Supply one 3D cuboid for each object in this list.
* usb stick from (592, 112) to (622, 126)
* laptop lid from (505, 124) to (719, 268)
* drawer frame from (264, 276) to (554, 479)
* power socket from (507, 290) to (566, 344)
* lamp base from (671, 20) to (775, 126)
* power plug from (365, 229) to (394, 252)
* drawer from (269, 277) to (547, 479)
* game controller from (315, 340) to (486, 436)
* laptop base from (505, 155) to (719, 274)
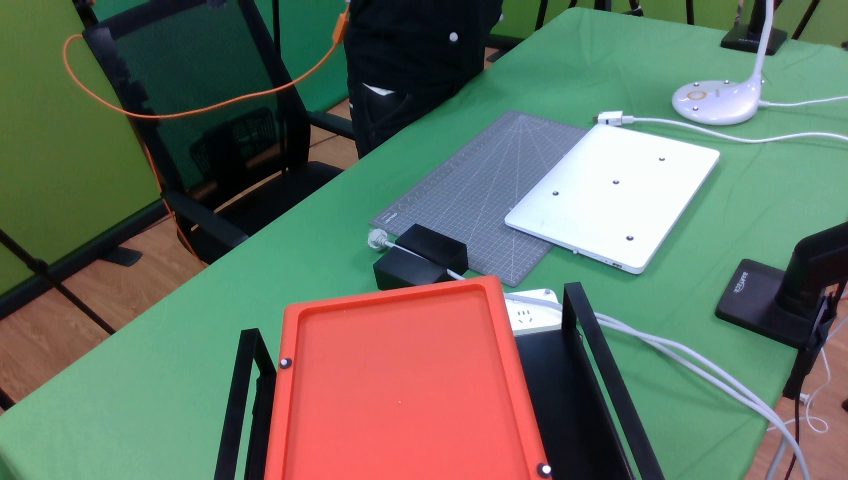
[{"bbox_3d":[0.361,-0.239,1.197,0.059,0.021,0.027,4,42,27],"label":"usb stick"},{"bbox_3d":[0.323,-0.093,1.021,0.240,0.013,0.358,23,49,32],"label":"laptop lid"},{"bbox_3d":[-0.016,0.137,0.490,0.202,0.083,0.212,-8,41,-1],"label":"drawer frame"},{"bbox_3d":[0.081,0.112,0.822,0.227,0.033,0.072,-7,41,0],"label":"power socket"},{"bbox_3d":[0.582,-0.332,1.154,0.179,0.181,0.160,2,42,7],"label":"lamp base"},{"bbox_3d":[-0.067,0.010,0.954,0.035,0.053,0.072,-40,52,1],"label":"power plug"},{"bbox_3d":[-0.018,0.137,0.493,0.195,0.073,0.210,-7,41,-1],"label":"drawer"},{"bbox_3d":[-0.021,0.119,0.534,0.155,0.052,0.096,-3,39,1],"label":"game controller"},{"bbox_3d":[0.326,-0.083,1.028,0.233,0.023,0.355,21,48,32],"label":"laptop base"}]
